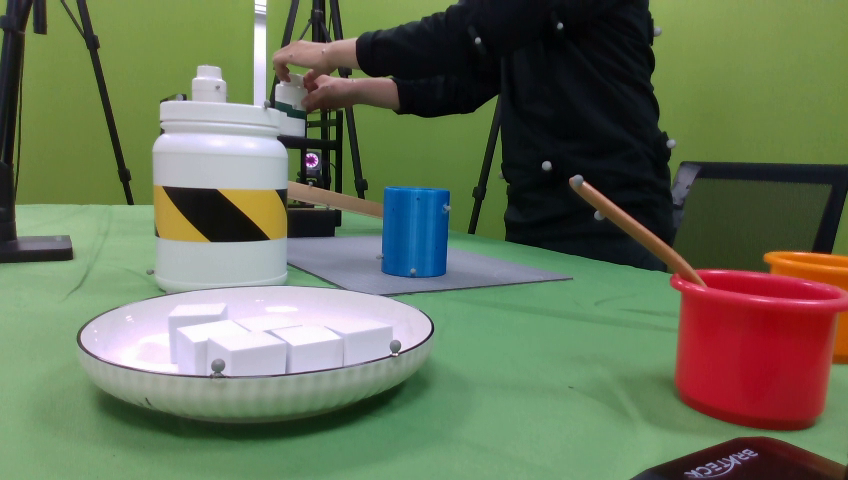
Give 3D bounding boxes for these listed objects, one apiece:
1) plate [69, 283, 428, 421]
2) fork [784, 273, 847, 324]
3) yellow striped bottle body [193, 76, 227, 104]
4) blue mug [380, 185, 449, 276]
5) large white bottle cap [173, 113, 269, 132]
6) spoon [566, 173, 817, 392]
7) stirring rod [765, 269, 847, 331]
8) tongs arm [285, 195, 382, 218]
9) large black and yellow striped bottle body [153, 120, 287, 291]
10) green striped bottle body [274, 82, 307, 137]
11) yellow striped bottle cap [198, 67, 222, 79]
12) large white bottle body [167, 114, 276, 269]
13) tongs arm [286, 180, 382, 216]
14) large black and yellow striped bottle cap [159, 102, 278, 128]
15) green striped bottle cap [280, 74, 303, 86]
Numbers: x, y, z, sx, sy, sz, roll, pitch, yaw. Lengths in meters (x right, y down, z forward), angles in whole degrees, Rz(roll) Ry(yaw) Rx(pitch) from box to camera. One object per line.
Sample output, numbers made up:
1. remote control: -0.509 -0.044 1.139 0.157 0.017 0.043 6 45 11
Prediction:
1. plate: -0.102 0.066 0.381 0.208 0.039 0.207 2 7 0
2. fork: 0.332 0.018 0.444 0.028 0.018 0.207 -2 -35 -15
3. yellow striped bottle body: -0.414 -0.268 1.169 0.063 0.120 0.063 2 7 0
4. blue mug: -0.018 -0.016 0.764 0.083 0.106 0.116 -2 8 -25
5. large white bottle cap: -0.254 -0.146 0.760 0.115 0.018 0.115 1 7 0
6. spoon: 0.161 0.024 0.370 0.193 0.021 0.042 47 18 3
7. stirring rod: 0.351 0.020 0.484 0.176 0.006 0.014 -40 -6 12
8. tongs arm: -0.166 -0.074 1.216 0.389 0.027 0.028 11 -6 -24
9. large black and yellow striped bottle body: -0.208 -0.042 0.626 0.131 0.184 0.130 2 7 0
10. green striped bottle body: -0.269 -0.270 1.217 0.063 0.119 0.063 6 10 -1
11. yellow striped bottle cap: -0.411 -0.320 1.163 0.044 0.018 0.044 0 6 0
12. large white bottle body: -0.256 -0.063 0.772 0.131 0.184 0.130 1 7 0
13. tongs arm: -0.122 -0.066 1.147 0.387 0.026 0.050 11 -2 -38
14. large black and yellow striped bottle cap: -0.207 -0.125 0.615 0.115 0.019 0.115 2 6 0
15. green striped bottle cap: -0.264 -0.320 1.209 0.044 0.020 0.044 10 11 -2
